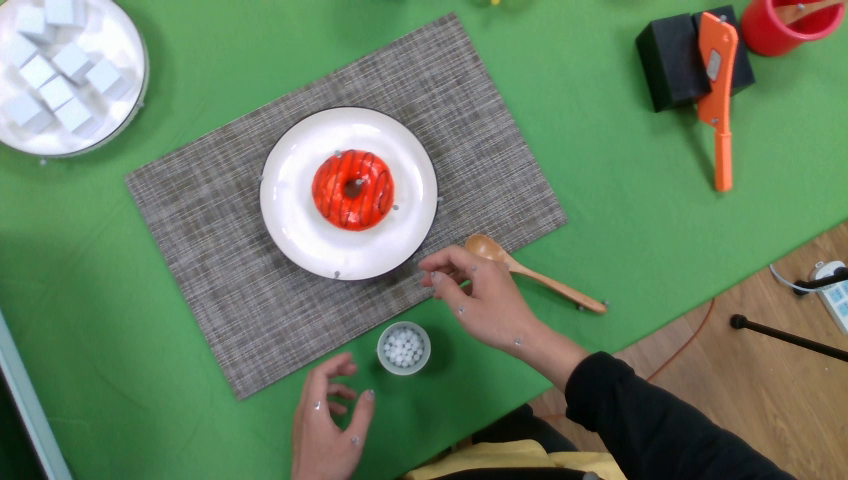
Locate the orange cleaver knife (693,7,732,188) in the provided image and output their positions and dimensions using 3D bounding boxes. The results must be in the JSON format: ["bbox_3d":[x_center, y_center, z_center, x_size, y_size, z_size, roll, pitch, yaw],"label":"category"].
[{"bbox_3d":[0.344,-0.168,0.727,0.012,0.076,0.213,-13,115,-1],"label":"orange cleaver knife"}]

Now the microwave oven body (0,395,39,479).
[{"bbox_3d":[-0.581,0.225,0.560,0.326,0.260,0.441,-25,88,-5],"label":"microwave oven body"}]

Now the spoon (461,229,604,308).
[{"bbox_3d":[0.132,0.040,0.729,0.194,0.022,0.041,25,69,-2],"label":"spoon"}]

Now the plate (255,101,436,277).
[{"bbox_3d":[-0.092,-0.059,0.717,0.209,0.038,0.208,0,86,-3],"label":"plate"}]

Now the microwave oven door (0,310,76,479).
[{"bbox_3d":[-0.431,0.201,0.564,0.039,0.244,0.355,-26,87,-4],"label":"microwave oven door"}]

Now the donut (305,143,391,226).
[{"bbox_3d":[-0.088,-0.064,0.706,0.099,0.048,0.099,0,88,-1],"label":"donut"}]

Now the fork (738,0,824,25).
[{"bbox_3d":[0.484,-0.287,0.712,0.206,0.019,0.028,-3,82,39],"label":"fork"}]

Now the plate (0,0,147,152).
[{"bbox_3d":[-0.429,-0.203,0.715,0.208,0.039,0.207,0,85,-3],"label":"plate"}]

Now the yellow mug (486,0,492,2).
[{"bbox_3d":[0.101,-0.353,0.738,0.100,0.064,0.130,20,86,-1],"label":"yellow mug"}]

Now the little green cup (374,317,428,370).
[{"bbox_3d":[-0.027,0.120,0.710,0.061,0.038,0.061,0,86,-2],"label":"little green cup"}]
